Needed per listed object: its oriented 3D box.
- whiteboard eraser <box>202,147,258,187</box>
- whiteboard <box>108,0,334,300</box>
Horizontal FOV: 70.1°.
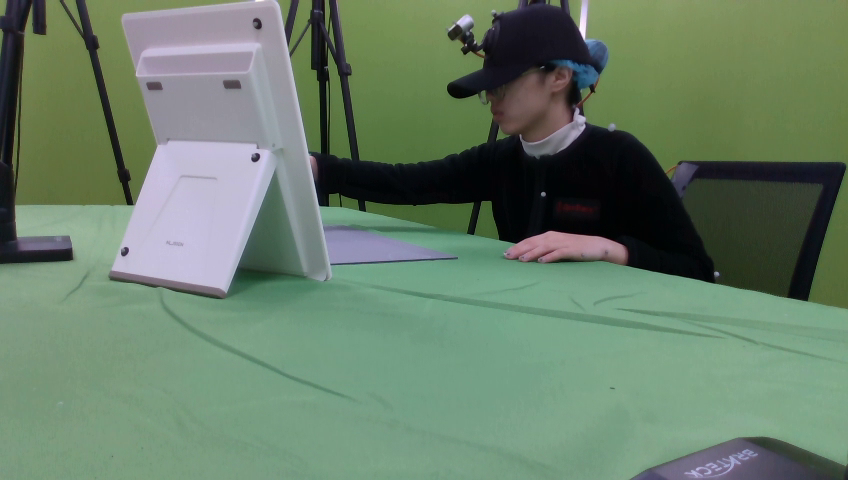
[{"bbox_3d":[-0.368,-0.134,1.147,0.055,0.042,0.113,24,-5,20],"label":"whiteboard eraser"},{"bbox_3d":[-0.248,-0.072,0.624,0.216,0.305,0.144,6,28,26],"label":"whiteboard"}]
